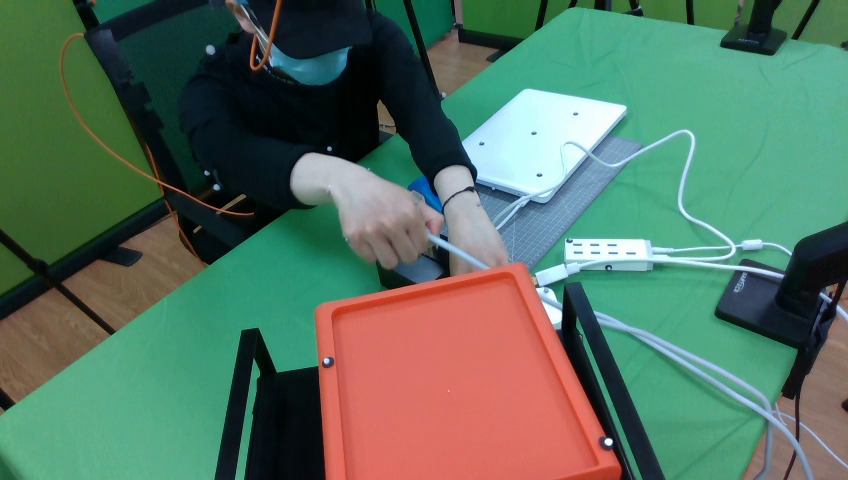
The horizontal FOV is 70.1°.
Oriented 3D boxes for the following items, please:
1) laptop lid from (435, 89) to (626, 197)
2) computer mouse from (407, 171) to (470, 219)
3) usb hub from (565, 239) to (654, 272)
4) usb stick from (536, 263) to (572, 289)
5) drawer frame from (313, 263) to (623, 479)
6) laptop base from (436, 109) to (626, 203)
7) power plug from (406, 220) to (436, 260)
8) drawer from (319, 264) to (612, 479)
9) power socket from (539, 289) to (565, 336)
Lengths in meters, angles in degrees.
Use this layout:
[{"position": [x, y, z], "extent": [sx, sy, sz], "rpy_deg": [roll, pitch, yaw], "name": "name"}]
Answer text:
[{"position": [0.211, -0.202, 1.165], "extent": [0.240, 0.013, 0.358], "rpy_deg": [21, 47, 32], "name": "laptop lid"}, {"position": [0.024, -0.082, 1.049], "extent": [0.063, 0.041, 0.116], "rpy_deg": [-30, 49, -27], "name": "computer mouse"}, {"position": [0.275, 0.022, 0.906], "extent": [0.125, 0.025, 0.049], "rpy_deg": [1, 41, 9], "name": "usb hub"}, {"position": [0.182, 0.056, 0.875], "extent": [0.059, 0.021, 0.027], "rpy_deg": [-32, 1, -6], "name": "usb stick"}, {"position": [0.021, 0.130, 0.493], "extent": [0.202, 0.083, 0.212], "rpy_deg": [-11, 41, -6], "name": "drawer frame"}, {"position": [0.215, -0.193, 1.172], "extent": [0.233, 0.023, 0.355], "rpy_deg": [19, 46, 32], "name": "laptop base"}, {"position": [-0.005, 0.007, 0.700], "extent": [0.035, 0.053, 0.072], "rpy_deg": [-6, 26, 7], "name": "power plug"}, {"position": [0.020, 0.129, 0.497], "extent": [0.195, 0.073, 0.210], "rpy_deg": [-11, 41, -5], "name": "drawer"}, {"position": [0.081, 0.112, 0.822], "extent": [0.227, 0.033, 0.072], "rpy_deg": [-7, 41, -1], "name": "power socket"}]
